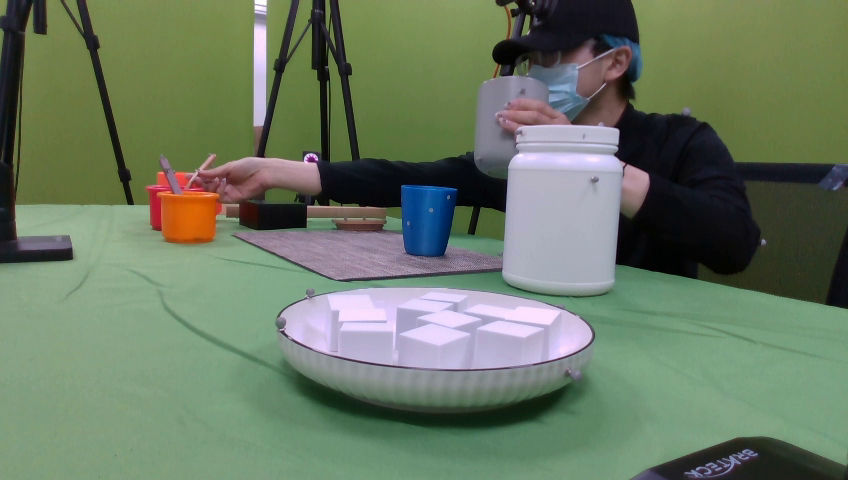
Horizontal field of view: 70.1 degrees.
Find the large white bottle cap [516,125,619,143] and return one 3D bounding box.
[{"bbox_3d":[0.164,-0.120,0.695,0.115,0.018,0.115,2,8,0],"label":"large white bottle cap"}]

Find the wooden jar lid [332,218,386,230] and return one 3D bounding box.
[{"bbox_3d":[-0.129,-0.032,1.204,0.108,0.020,0.108,0,5,0],"label":"wooden jar lid"}]

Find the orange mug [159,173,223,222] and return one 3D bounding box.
[{"bbox_3d":[-0.477,-0.089,1.241,0.127,0.101,0.083,-7,11,-33],"label":"orange mug"}]

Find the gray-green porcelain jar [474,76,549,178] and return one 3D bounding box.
[{"bbox_3d":[0.127,-0.160,0.885,0.106,0.126,0.106,3,-7,1],"label":"gray-green porcelain jar"}]

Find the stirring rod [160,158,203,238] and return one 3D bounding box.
[{"bbox_3d":[-0.391,-0.070,0.972,0.014,0.006,0.175,-2,50,-48],"label":"stirring rod"}]

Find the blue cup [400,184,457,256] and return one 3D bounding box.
[{"bbox_3d":[0.004,-0.030,0.901,0.093,0.100,0.092,4,8,0],"label":"blue cup"}]

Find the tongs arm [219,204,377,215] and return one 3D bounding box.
[{"bbox_3d":[-0.287,-0.070,1.435,0.389,0.027,0.028,0,-1,-17],"label":"tongs arm"}]

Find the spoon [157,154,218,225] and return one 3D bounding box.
[{"bbox_3d":[-0.432,-0.096,1.122,0.041,0.022,0.193,3,52,23],"label":"spoon"}]

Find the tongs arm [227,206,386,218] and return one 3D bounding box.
[{"bbox_3d":[-0.251,-0.063,1.360,0.387,0.026,0.050,-2,3,-31],"label":"tongs arm"}]

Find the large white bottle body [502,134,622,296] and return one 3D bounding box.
[{"bbox_3d":[0.161,-0.037,0.706,0.131,0.184,0.130,2,7,0],"label":"large white bottle body"}]

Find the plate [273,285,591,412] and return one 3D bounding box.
[{"bbox_3d":[0.005,0.069,0.408,0.208,0.039,0.207,2,7,0],"label":"plate"}]
